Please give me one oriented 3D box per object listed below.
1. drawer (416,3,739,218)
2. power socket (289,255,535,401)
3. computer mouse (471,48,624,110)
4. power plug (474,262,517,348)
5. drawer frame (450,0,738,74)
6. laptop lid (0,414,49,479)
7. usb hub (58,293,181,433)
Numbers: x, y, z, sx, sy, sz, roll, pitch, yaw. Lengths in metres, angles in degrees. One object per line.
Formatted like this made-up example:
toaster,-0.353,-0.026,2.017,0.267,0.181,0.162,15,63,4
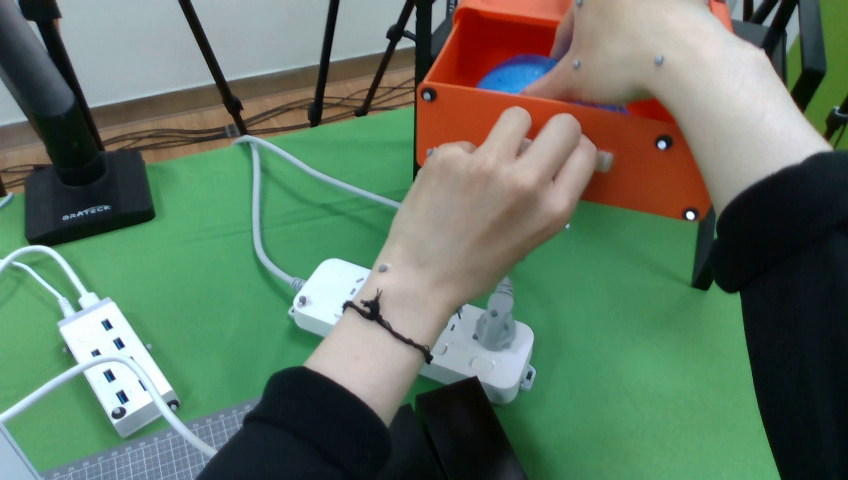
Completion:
drawer,0.115,-0.126,0.449,0.194,0.074,0.210,12,48,10
power socket,-0.011,0.073,0.532,0.226,0.033,0.072,18,47,15
computer mouse,0.092,-0.101,0.440,0.116,0.041,0.062,32,53,13
power plug,0.071,0.062,0.517,0.035,0.053,0.072,27,53,23
drawer frame,0.140,-0.198,0.515,0.201,0.083,0.212,10,47,8
laptop lid,-0.407,0.147,0.292,0.357,0.244,0.013,-20,37,-18
usb hub,-0.255,0.098,0.502,0.049,0.025,0.124,-32,55,-28
